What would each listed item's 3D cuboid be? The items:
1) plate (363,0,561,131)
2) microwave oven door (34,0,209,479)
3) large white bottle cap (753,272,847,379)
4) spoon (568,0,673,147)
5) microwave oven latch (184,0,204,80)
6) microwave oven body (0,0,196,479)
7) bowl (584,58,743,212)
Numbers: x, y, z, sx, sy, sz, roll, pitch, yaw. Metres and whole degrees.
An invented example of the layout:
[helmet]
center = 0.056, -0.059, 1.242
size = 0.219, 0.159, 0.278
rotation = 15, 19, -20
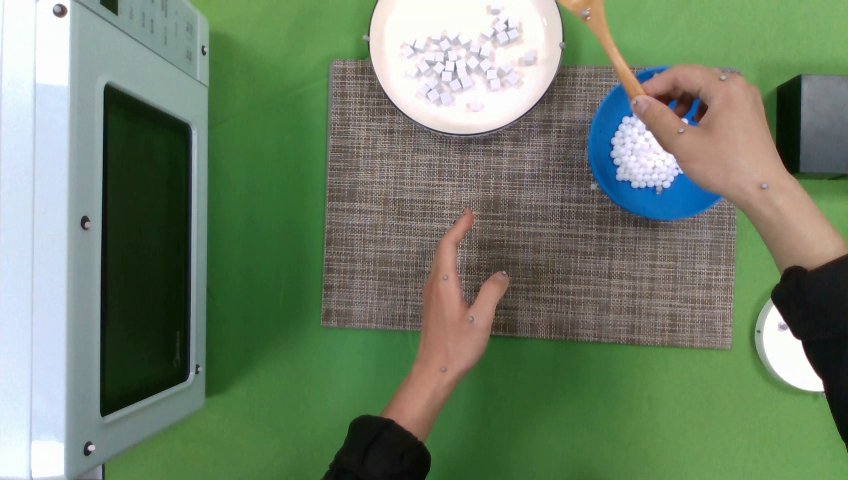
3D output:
[plate]
center = 0.041, -0.218, 0.656
size = 0.209, 0.038, 0.208
rotation = 0, 87, 3
[microwave oven door]
center = -0.264, 0.001, 0.556
size = 0.039, 0.244, 0.355
rotation = 0, 90, 4
[large white bottle cap]
center = 0.414, 0.092, 0.648
size = 0.115, 0.018, 0.114
rotation = 0, 90, 2
[spoon]
center = 0.148, -0.155, 0.487
size = 0.021, 0.041, 0.194
rotation = -38, 102, -28
[microwave oven latch]
center = -0.256, -0.216, 0.658
size = 0.030, 0.029, 0.079
rotation = 0, 91, 3
[microwave oven body]
center = -0.410, -0.041, 0.569
size = 0.326, 0.260, 0.441
rotation = 0, 90, 3
[bowl]
center = 0.235, -0.101, 0.624
size = 0.151, 0.077, 0.151
rotation = 0, 90, 4
